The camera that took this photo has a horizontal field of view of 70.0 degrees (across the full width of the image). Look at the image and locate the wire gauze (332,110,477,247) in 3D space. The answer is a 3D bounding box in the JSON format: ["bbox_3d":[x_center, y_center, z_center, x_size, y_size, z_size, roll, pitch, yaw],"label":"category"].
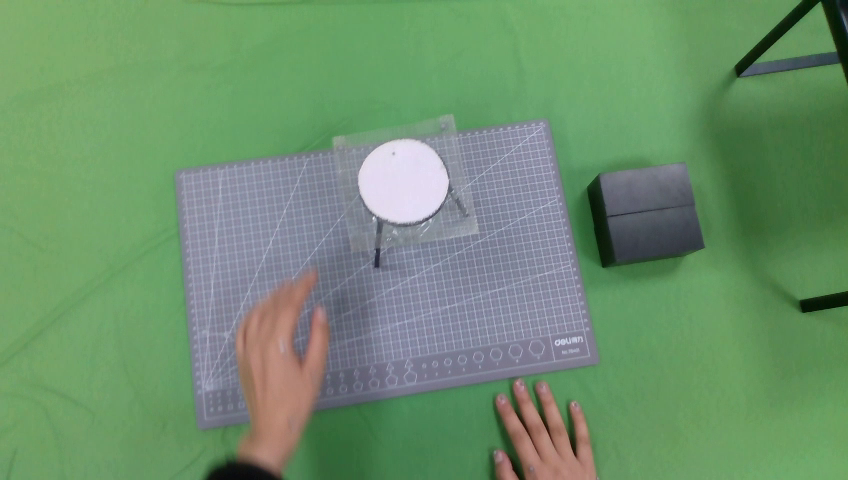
[{"bbox_3d":[-0.020,-0.059,0.579,0.125,0.011,0.121,-9,79,-3],"label":"wire gauze"}]

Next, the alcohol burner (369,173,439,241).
[{"bbox_3d":[-0.023,-0.040,0.654,0.078,0.119,0.077,0,80,1],"label":"alcohol burner"}]

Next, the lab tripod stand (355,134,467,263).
[{"bbox_3d":[-0.025,-0.050,0.647,0.148,0.132,0.148,0,79,1],"label":"lab tripod stand"}]
